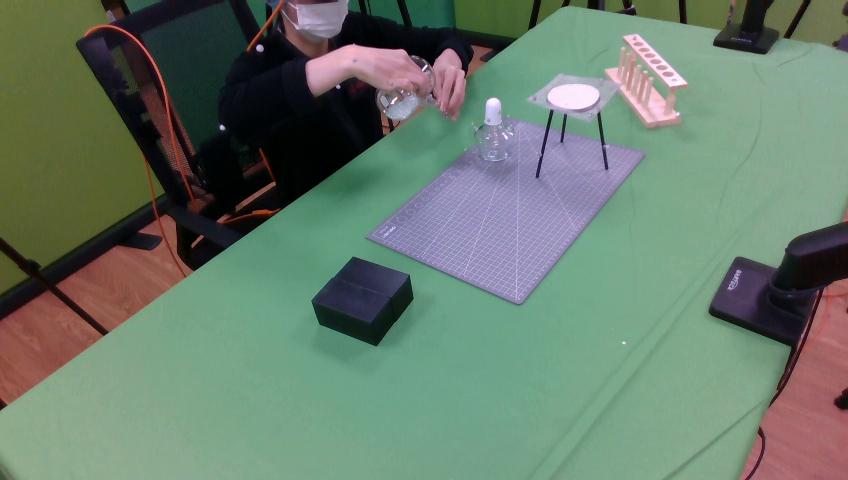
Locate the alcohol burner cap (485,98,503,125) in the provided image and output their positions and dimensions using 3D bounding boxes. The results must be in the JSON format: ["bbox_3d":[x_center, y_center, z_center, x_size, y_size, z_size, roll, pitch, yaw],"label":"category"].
[{"bbox_3d":[0.126,-0.234,1.097,0.034,0.048,0.033,-3,39,3],"label":"alcohol burner cap"}]

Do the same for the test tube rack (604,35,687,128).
[{"bbox_3d":[0.447,-0.330,1.241,0.067,0.085,0.241,-9,41,-2],"label":"test tube rack"}]

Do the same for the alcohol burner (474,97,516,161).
[{"bbox_3d":[0.131,-0.208,1.121,0.078,0.119,0.077,-6,40,5],"label":"alcohol burner"}]

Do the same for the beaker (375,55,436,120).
[{"bbox_3d":[-0.032,-0.254,1.027,0.073,0.084,0.100,3,40,30],"label":"beaker"}]

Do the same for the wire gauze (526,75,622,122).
[{"bbox_3d":[0.255,-0.248,1.030,0.124,0.011,0.122,24,51,32],"label":"wire gauze"}]

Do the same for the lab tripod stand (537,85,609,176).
[{"bbox_3d":[0.259,-0.192,1.068,0.148,0.132,0.147,-4,43,4],"label":"lab tripod stand"}]

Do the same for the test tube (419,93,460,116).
[{"bbox_3d":[0.032,-0.255,1.145,0.017,0.017,0.151,19,9,28],"label":"test tube"}]
